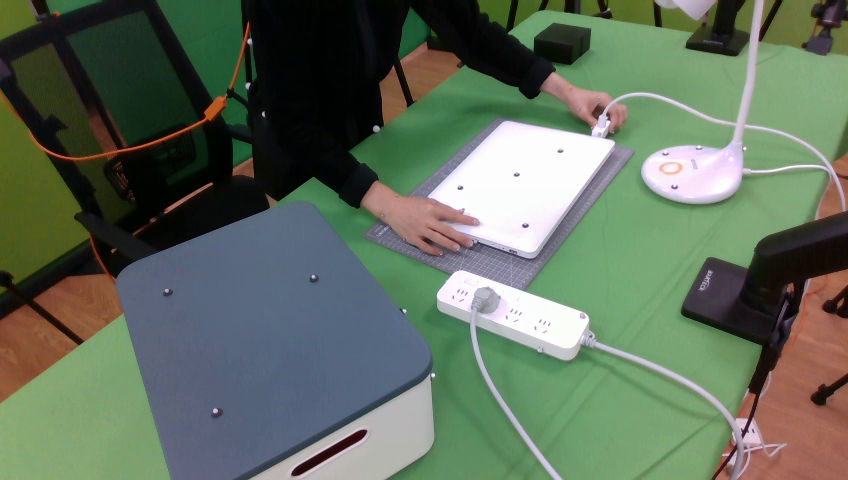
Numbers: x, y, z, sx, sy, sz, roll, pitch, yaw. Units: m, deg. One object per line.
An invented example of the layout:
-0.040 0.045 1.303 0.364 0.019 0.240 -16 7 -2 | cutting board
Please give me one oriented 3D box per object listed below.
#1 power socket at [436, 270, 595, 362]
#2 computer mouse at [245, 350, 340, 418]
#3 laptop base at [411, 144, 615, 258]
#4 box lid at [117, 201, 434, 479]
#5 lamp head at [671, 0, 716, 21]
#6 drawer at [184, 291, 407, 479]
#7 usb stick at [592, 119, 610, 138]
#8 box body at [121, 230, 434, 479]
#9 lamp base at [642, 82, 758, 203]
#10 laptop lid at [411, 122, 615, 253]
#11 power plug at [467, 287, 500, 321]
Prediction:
0.119 0.101 0.832 0.225 0.033 0.072 19 48 27 | power socket
-0.165 0.173 0.754 0.118 0.041 0.062 -18 34 -18 | computer mouse
0.167 -0.102 1.074 0.234 0.023 0.355 17 45 30 | laptop base
-0.182 0.087 0.675 0.264 0.015 0.368 -25 42 -20 | box lid
0.375 -0.373 0.807 0.122 0.113 0.112 -40 27 32 | lamp head
-0.155 0.179 0.719 0.195 0.073 0.210 -27 40 -21 | drawer
0.334 -0.204 1.150 0.021 0.027 0.059 21 52 22 | usb stick
-0.175 0.142 0.725 0.255 0.161 0.360 -25 43 -20 | box body
0.464 -0.174 0.992 0.179 0.181 0.159 -5 41 -1 | lamp base
0.164 -0.112 1.068 0.240 0.013 0.357 19 46 31 | laptop lid
0.073 0.092 0.814 0.035 0.053 0.073 29 54 34 | power plug
